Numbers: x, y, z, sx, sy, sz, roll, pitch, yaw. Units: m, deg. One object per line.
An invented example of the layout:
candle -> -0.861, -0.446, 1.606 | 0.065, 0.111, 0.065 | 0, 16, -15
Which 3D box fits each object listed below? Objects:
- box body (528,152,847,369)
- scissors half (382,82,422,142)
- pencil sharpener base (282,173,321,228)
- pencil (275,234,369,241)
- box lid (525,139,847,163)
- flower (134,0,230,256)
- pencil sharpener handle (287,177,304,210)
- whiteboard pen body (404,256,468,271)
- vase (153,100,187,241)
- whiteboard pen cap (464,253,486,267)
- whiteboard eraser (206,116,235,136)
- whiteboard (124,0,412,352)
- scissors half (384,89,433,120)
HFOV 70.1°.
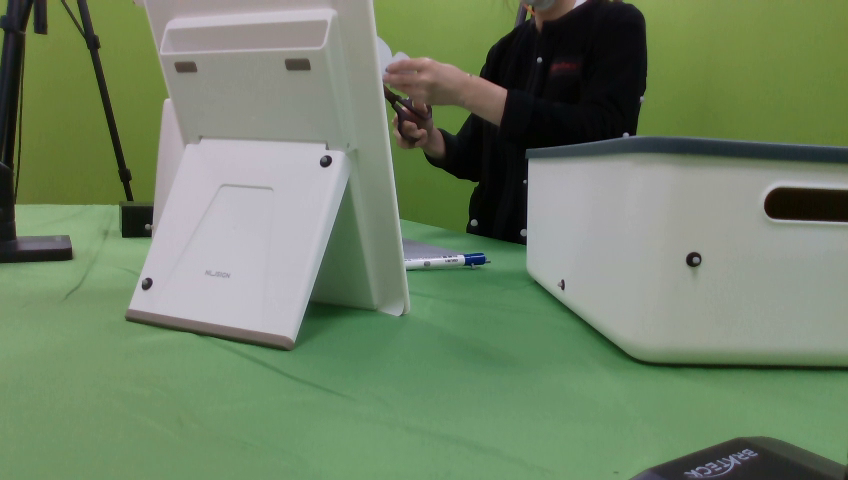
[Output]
box body -> 0.258, -0.005, 0.591 | 0.254, 0.160, 0.363 | 2, 7, -4
scissors half -> -0.056, -0.235, 1.053 | 0.012, 0.040, 0.176 | 17, -27, 48
pencil sharpener base -> -0.247, -0.080, 1.212 | 0.061, 0.107, 0.076 | -2, 5, -28
pencil -> -0.169, -0.006, 1.036 | 0.195, 0.012, 0.012 | -2, 9, -45
box lid -> 0.261, -0.078, 0.580 | 0.264, 0.015, 0.371 | 2, 7, -4
flower -> -0.282, -0.147, 0.713 | 0.038, 0.362, 0.044 | -23, 24, -31
pencil sharpener handle -> -0.269, -0.096, 1.257 | 0.036, 0.067, 0.030 | -8, 8, -27
whiteboard pen body -> 0.013, 0.030, 0.792 | 0.141, 0.017, 0.017 | -3, 9, -24
vase -> -0.278, -0.066, 0.736 | 0.098, 0.200, 0.098 | 2, 9, 0
whiteboard pen cap -> 0.066, 0.027, 0.818 | 0.033, 0.018, 0.018 | -6, 10, -24
whiteboard eraser -> -0.450, -0.252, 1.335 | 0.056, 0.042, 0.112 | 1, 7, -22
whiteboard -> -0.151, -0.049, 0.472 | 0.216, 0.305, 0.144 | 6, 27, 24
scissors half -> -0.047, -0.254, 1.057 | 0.176, 0.040, 0.013 | 15, -4, -43
